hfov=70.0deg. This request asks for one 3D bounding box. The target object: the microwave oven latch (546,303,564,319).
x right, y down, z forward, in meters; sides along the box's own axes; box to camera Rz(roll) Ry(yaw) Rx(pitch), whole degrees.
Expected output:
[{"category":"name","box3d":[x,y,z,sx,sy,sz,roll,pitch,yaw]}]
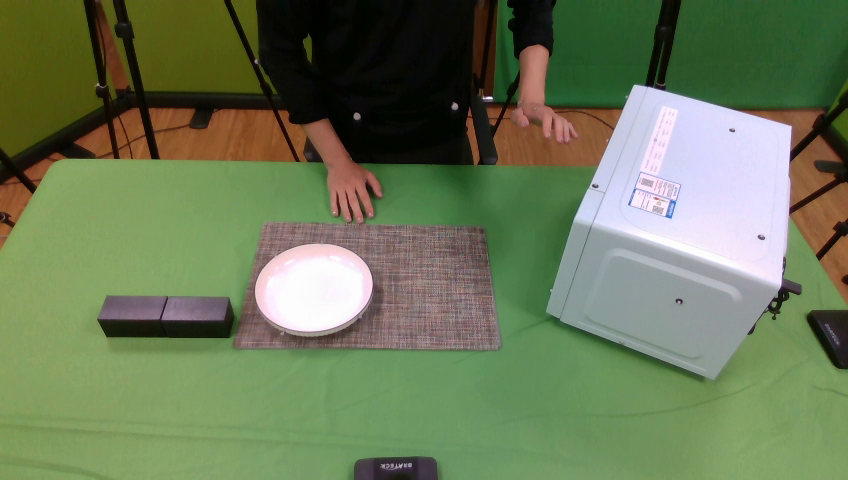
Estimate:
[{"category":"microwave oven latch","box3d":[0.242,0.102,1.081,0.030,0.029,0.079,21,48,17]}]

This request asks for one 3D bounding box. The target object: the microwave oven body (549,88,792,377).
[{"category":"microwave oven body","box3d":[0.456,-0.028,1.088,0.325,0.261,0.440,20,47,16]}]

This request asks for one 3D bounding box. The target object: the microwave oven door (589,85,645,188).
[{"category":"microwave oven door","box3d":[0.342,-0.107,1.149,0.039,0.245,0.354,20,48,15]}]

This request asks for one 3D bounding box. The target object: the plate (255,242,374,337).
[{"category":"plate","box3d":[-0.192,0.090,1.079,0.208,0.039,0.206,2,46,-2]}]
